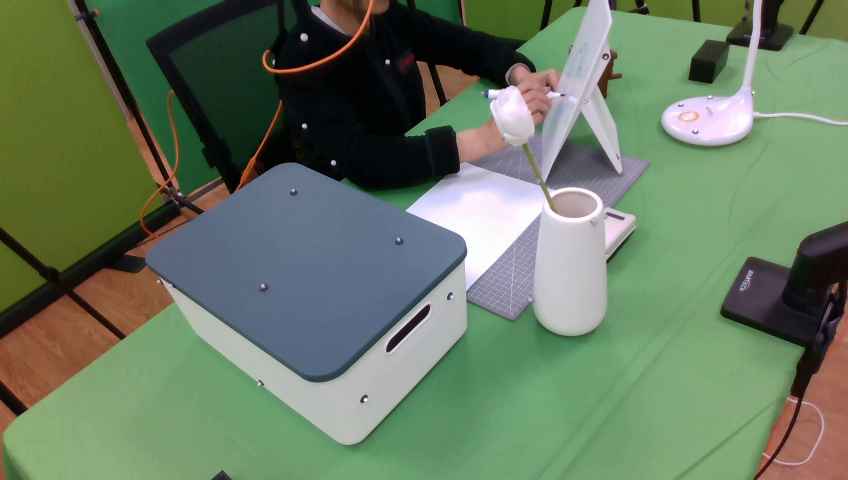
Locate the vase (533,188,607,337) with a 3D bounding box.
[{"bbox_3d":[0.187,0.033,0.771,0.098,0.201,0.097,-6,41,6],"label":"vase"}]

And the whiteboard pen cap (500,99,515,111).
[{"bbox_3d":[0.177,-0.287,1.289,0.033,0.018,0.018,-38,48,-25],"label":"whiteboard pen cap"}]

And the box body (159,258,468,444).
[{"bbox_3d":[-0.147,0.072,0.816,0.361,0.161,0.255,24,50,33],"label":"box body"}]

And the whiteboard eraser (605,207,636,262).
[{"bbox_3d":[0.273,-0.003,0.919,0.055,0.042,0.113,27,51,33],"label":"whiteboard eraser"}]

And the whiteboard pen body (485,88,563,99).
[{"bbox_3d":[0.178,-0.259,1.071,0.141,0.017,0.017,2,41,3],"label":"whiteboard pen body"}]

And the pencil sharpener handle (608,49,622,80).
[{"bbox_3d":[0.394,-0.368,1.253,0.030,0.068,0.036,-8,32,1],"label":"pencil sharpener handle"}]

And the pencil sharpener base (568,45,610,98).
[{"bbox_3d":[0.345,-0.352,1.263,0.077,0.107,0.061,-9,40,1],"label":"pencil sharpener base"}]

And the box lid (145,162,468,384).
[{"bbox_3d":[-0.157,0.014,0.769,0.368,0.015,0.264,25,51,33],"label":"box lid"}]

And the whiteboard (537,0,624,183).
[{"bbox_3d":[0.316,-0.256,1.047,0.144,0.306,0.216,15,42,-1],"label":"whiteboard"}]

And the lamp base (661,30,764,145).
[{"bbox_3d":[0.535,-0.287,1.096,0.179,0.181,0.159,-10,40,-4],"label":"lamp base"}]

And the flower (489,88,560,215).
[{"bbox_3d":[0.158,-0.028,0.720,0.038,0.364,0.044,-14,44,23],"label":"flower"}]
